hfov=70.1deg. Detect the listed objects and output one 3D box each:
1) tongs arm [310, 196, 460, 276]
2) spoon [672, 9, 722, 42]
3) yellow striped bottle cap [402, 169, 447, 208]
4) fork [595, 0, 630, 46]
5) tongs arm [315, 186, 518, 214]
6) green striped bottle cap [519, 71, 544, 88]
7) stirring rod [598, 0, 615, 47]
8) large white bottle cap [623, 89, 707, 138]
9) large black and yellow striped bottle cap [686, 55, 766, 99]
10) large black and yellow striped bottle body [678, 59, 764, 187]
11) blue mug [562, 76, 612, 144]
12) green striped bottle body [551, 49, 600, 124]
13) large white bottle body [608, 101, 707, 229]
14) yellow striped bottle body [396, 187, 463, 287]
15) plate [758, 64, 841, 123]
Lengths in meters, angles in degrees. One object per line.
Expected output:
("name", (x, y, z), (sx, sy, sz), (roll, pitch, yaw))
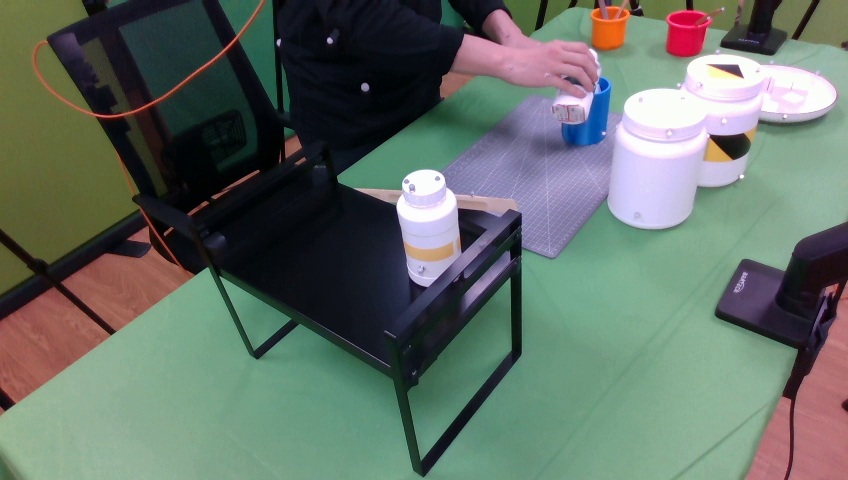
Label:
("tongs arm", (-0.078, -0.012, 0.943), (0.028, 0.028, 0.384), (-43, 39, -23))
("spoon", (0.606, -0.476, 1.345), (0.042, 0.021, 0.193), (-6, -3, -2))
("yellow striped bottle cap", (0.000, -0.052, 0.605), (0.044, 0.019, 0.044), (-4, 43, 5))
("fork", (0.480, -0.556, 1.453), (0.028, 0.019, 0.207), (41, 103, 40))
("tongs arm", (-0.028, -0.060, 0.988), (0.382, 0.027, 0.051), (9, 45, 36))
("green striped bottle cap", (0.196, -0.291, 1.099), (0.044, 0.020, 0.044), (11, 4, 0))
("stirring rod", (0.437, -0.551, 1.462), (0.014, 0.006, 0.175), (-11, 83, 1))
("large white bottle cap", (0.352, -0.187, 0.886), (0.115, 0.018, 0.114), (-4, 41, 4))
("large black and yellow striped bottle cap", (0.474, -0.258, 0.952), (0.115, 0.019, 0.114), (-5, 41, 5))
("large black and yellow striped bottle body", (0.482, -0.196, 1.007), (0.131, 0.185, 0.130), (-4, 41, 4))
("blue mug", (0.298, -0.239, 1.143), (0.117, 0.106, 0.081), (-37, 49, -29))
("green striped bottle body", (0.258, -0.261, 1.018), (0.063, 0.063, 0.119), (12, 73, 22))
("large white bottle body", (0.361, -0.124, 0.941), (0.130, 0.185, 0.130), (-5, 41, 4))
("yellow striped bottle body", (0.006, -0.013, 0.638), (0.063, 0.121, 0.062), (-5, 41, 4))
("plate", (0.694, -0.283, 1.189), (0.207, 0.039, 0.206), (-4, 40, 4))
